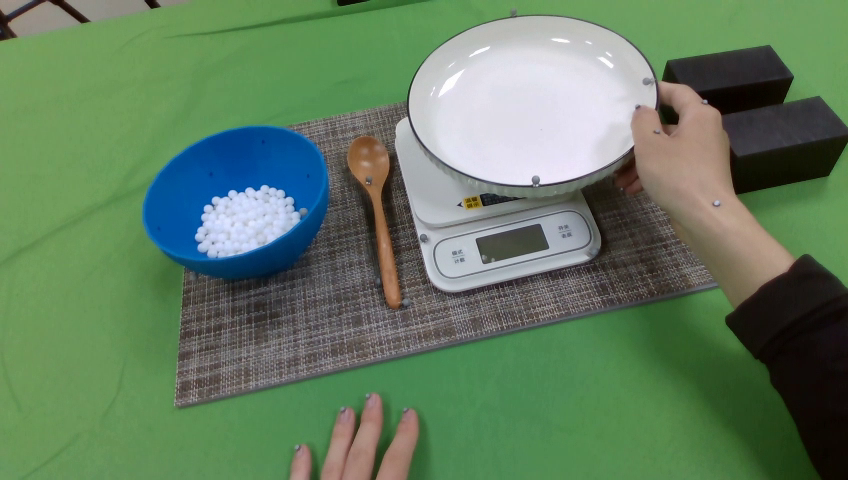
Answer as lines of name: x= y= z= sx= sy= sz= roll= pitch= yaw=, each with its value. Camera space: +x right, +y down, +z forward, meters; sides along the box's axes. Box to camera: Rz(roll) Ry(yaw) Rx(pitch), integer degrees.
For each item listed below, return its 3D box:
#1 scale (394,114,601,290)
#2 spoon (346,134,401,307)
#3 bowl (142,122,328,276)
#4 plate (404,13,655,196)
scale: x=0.058 y=-0.054 z=0.546 sx=0.149 sy=0.032 sz=0.198 roll=-13 pitch=52 yaw=-2
spoon: x=-0.042 y=-0.024 z=0.542 sx=0.042 sy=0.022 sz=0.191 roll=-3 pitch=51 yaw=-13
bowl: x=-0.149 y=-0.021 z=0.519 sx=0.151 sy=0.077 sz=0.150 roll=-3 pitch=52 yaw=5
plate: x=0.087 y=-0.116 z=0.519 sx=0.209 sy=0.038 sz=0.207 roll=-4 pitch=55 yaw=6
